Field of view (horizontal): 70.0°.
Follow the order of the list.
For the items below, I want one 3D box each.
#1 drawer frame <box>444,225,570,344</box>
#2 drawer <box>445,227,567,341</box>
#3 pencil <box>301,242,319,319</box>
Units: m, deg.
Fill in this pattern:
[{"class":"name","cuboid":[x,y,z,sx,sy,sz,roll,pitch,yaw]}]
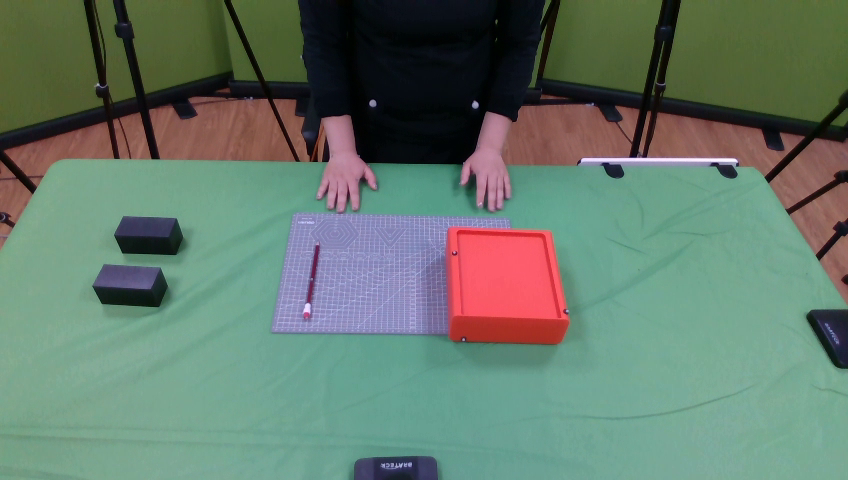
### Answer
[{"class":"drawer frame","cuboid":[0.141,0.077,1.088,0.202,0.083,0.212,2,47,-4]},{"class":"drawer","cuboid":[0.139,0.076,1.090,0.195,0.073,0.210,3,47,-4]},{"class":"pencil","cuboid":[-0.208,0.070,1.119,0.012,0.012,0.193,2,43,-2]}]
